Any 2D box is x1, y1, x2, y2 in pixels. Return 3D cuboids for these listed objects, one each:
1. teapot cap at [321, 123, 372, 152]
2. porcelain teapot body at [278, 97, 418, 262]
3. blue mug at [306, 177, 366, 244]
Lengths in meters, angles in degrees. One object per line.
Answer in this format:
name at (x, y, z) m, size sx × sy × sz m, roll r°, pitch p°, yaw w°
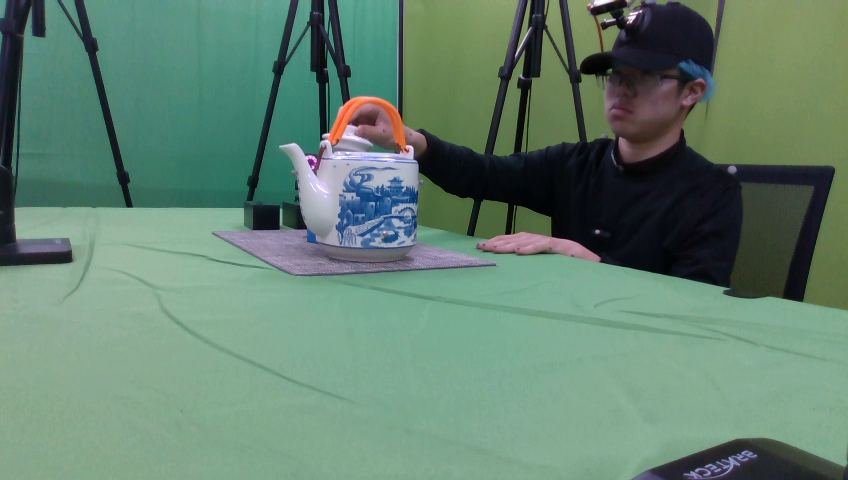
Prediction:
teapot cap at (-0.126, -0.169, 0.990) m, size 0.085 × 0.044 × 0.085 m, roll 10°, pitch 1°, yaw 0°
porcelain teapot body at (-0.103, -0.086, 0.842) m, size 0.206 × 0.225 × 0.144 m, roll -4°, pitch 9°, yaw -38°
blue mug at (-0.144, -0.052, 1.027) m, size 0.082 × 0.106 × 0.117 m, roll 9°, pitch 10°, yaw 42°
